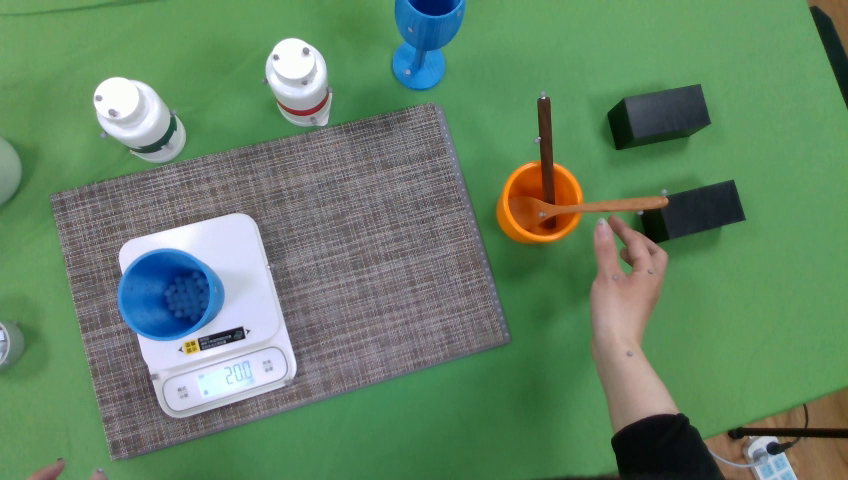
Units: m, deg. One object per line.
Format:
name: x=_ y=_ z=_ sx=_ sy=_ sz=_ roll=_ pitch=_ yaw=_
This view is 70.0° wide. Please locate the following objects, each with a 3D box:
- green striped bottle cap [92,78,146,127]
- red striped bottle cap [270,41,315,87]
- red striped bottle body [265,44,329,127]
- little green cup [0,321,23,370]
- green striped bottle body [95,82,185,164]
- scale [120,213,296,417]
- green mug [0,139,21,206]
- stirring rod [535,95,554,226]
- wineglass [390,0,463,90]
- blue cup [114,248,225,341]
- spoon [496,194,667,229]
green striped bottle cap: x=-0.295 y=-0.133 z=0.586 sx=0.044 sy=0.020 sz=0.044 roll=1 pitch=83 yaw=-5
red striped bottle cap: x=-0.133 y=-0.178 z=0.612 sx=0.044 sy=0.018 sz=0.044 roll=1 pitch=80 yaw=-5
red striped bottle body: x=-0.139 y=-0.172 z=0.665 sx=0.063 sy=0.120 sz=0.063 roll=1 pitch=82 yaw=-6
little green cup: x=-0.457 y=0.111 z=0.635 sx=0.062 sy=0.038 sz=0.061 roll=1 pitch=82 yaw=-7
green striped bottle body: x=-0.301 y=-0.124 z=0.641 sx=0.063 sy=0.119 sz=0.063 roll=1 pitch=82 yaw=-6
scale: x=-0.236 y=0.080 z=0.664 sx=0.149 sy=0.031 sz=0.200 roll=-16 pitch=85 yaw=-8
green mug: x=-0.492 y=-0.063 z=0.620 sx=0.092 sy=0.105 sz=0.125 roll=19 pitch=81 yaw=-3
stirring rod: x=0.134 y=-0.081 z=0.670 sx=0.014 sy=0.178 sz=0.005 roll=-9 pitch=43 yaw=6
wineglass: x=-0.002 y=-0.227 z=0.660 sx=0.074 sy=0.172 sz=0.073 roll=1 pitch=82 yaw=-5
blue cup: x=-0.240 y=0.055 z=0.601 sx=0.093 sy=0.100 sz=0.092 roll=1 pitch=85 yaw=-6
spoon: x=0.167 y=-0.036 z=0.667 sx=0.022 sy=0.192 sz=0.041 roll=-4 pitch=91 yaw=-50
